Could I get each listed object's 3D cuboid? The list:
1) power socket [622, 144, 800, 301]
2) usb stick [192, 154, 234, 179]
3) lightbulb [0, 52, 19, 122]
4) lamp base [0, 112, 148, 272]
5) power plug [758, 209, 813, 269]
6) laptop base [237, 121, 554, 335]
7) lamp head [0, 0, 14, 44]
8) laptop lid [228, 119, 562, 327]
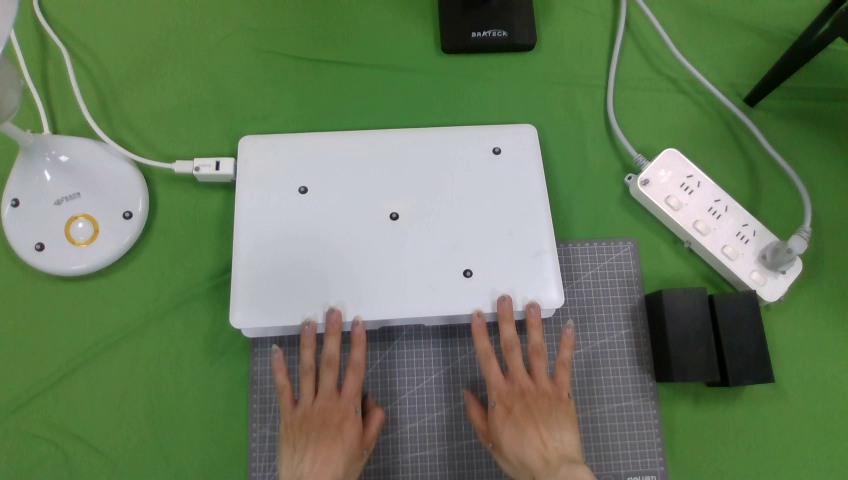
[{"bbox_3d":[0.338,-0.022,0.713,0.226,0.033,0.072,44,79,7],"label":"power socket"},{"bbox_3d":[-0.233,-0.084,0.695,0.059,0.027,0.021,1,72,-5],"label":"usb stick"},{"bbox_3d":[-0.300,-0.107,0.356,0.059,0.109,0.059,-19,55,30],"label":"lightbulb"},{"bbox_3d":[-0.400,-0.070,0.612,0.160,0.181,0.178,-34,78,-9],"label":"lamp base"},{"bbox_3d":[0.413,0.004,0.688,0.072,0.053,0.035,-35,80,-11],"label":"power plug"},{"bbox_3d":[-0.035,-0.019,0.704,0.355,0.023,0.234,-4,80,-4],"label":"laptop base"},{"bbox_3d":[-0.319,-0.125,0.339,0.124,0.111,0.112,26,73,-40],"label":"lamp head"},{"bbox_3d":[-0.035,-0.028,0.671,0.357,0.013,0.240,-2,69,-3],"label":"laptop lid"}]
